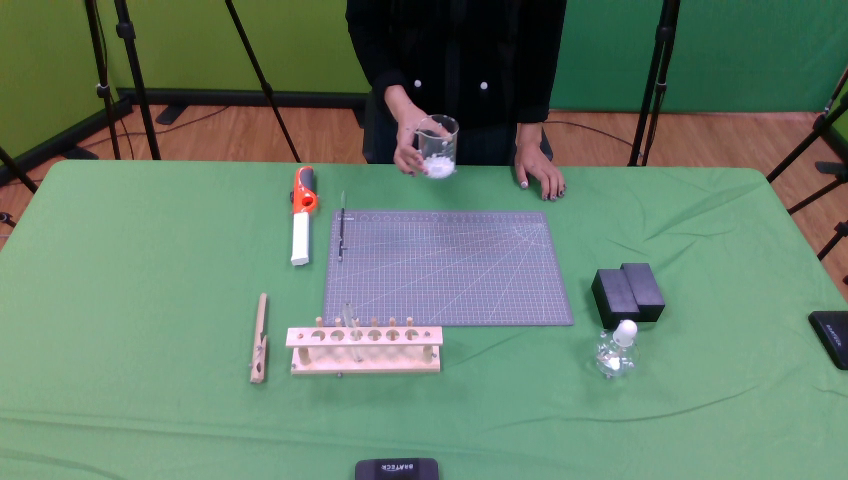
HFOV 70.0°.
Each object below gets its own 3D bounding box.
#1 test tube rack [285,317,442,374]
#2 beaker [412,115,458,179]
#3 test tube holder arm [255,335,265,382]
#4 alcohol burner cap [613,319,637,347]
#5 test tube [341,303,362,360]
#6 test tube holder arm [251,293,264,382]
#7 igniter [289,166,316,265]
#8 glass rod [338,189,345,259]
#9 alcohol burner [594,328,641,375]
[{"bbox_3d":[-0.095,0.166,0.988,0.242,0.085,0.066,0,46,-4],"label":"test tube rack"},{"bbox_3d":[0.019,-0.170,1.125,0.084,0.101,0.073,-7,45,-9],"label":"beaker"},{"bbox_3d":[-0.270,0.193,0.997,0.010,0.015,0.087,23,36,-32],"label":"test tube holder arm"},{"bbox_3d":[0.323,0.146,0.966,0.034,0.048,0.033,-1,52,2],"label":"alcohol burner cap"},{"bbox_3d":[-0.111,0.145,0.938,0.017,0.151,0.017,-1,50,2],"label":"test tube"},{"bbox_3d":[-0.281,0.159,1.025,0.013,0.015,0.177,23,36,-32],"label":"test tube holder arm"},{"bbox_3d":[-0.248,-0.058,1.233,0.057,0.025,0.274,-9,47,1],"label":"igniter"},{"bbox_3d":[-0.166,-0.037,1.227,0.008,0.008,0.198,-1,47,-4],"label":"glass rod"},{"bbox_3d":[0.322,0.170,0.994,0.078,0.119,0.077,3,48,-3],"label":"alcohol burner"}]
